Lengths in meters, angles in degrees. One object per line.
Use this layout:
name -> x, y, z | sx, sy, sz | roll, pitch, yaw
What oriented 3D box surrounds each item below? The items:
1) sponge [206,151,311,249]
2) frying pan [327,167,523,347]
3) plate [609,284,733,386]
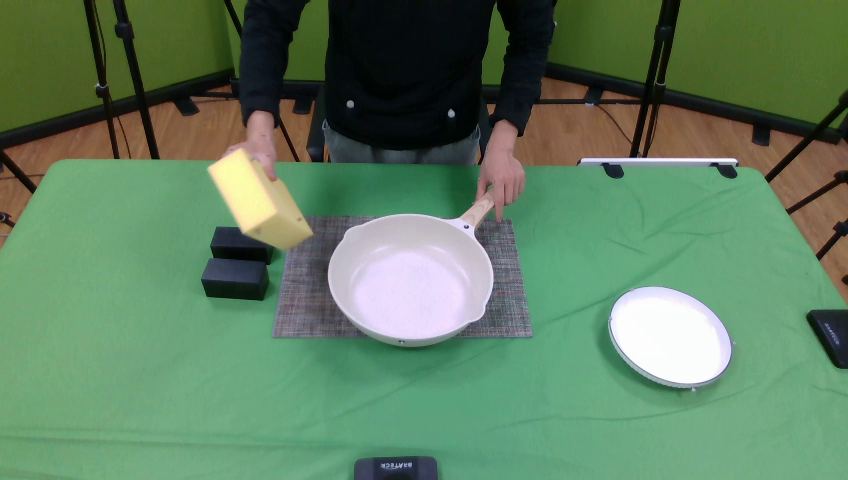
sponge -> -0.267, -0.058, 1.002 | 0.061, 0.207, 0.118 | -32, 82, 0
frying pan -> 0.042, 0.009, 1.132 | 0.305, 0.103, 0.487 | 33, 61, 24
plate -> 0.425, 0.167, 1.059 | 0.208, 0.039, 0.206 | 2, 46, -2
